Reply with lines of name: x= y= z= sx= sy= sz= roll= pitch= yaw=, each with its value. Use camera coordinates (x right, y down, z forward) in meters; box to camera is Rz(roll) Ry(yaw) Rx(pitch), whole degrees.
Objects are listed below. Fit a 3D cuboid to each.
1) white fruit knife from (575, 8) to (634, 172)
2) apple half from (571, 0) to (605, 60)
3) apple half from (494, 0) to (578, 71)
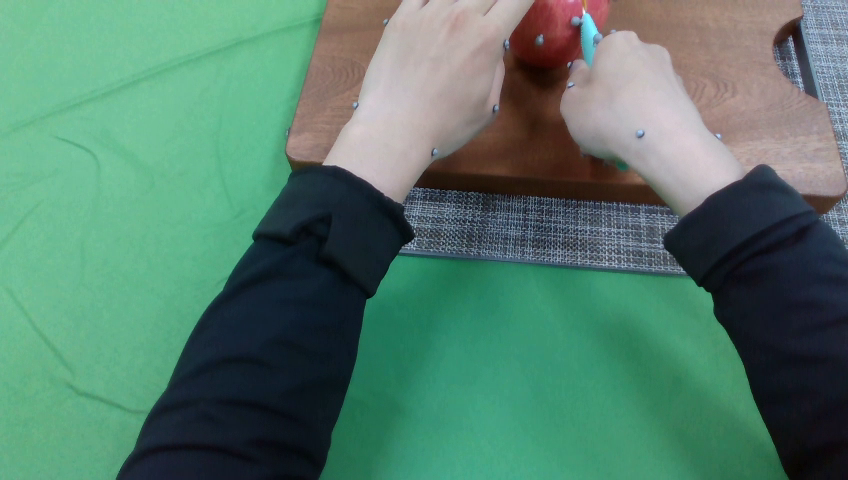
white fruit knife: x=0.111 y=-0.144 z=0.429 sx=0.016 sy=0.027 sz=0.205 roll=-12 pitch=68 yaw=0
apple half: x=0.119 y=-0.178 z=0.463 sx=0.033 sy=0.082 sz=0.080 roll=-9 pitch=60 yaw=-2
apple half: x=0.081 y=-0.169 z=0.462 sx=0.053 sy=0.075 sz=0.080 roll=-13 pitch=64 yaw=1
